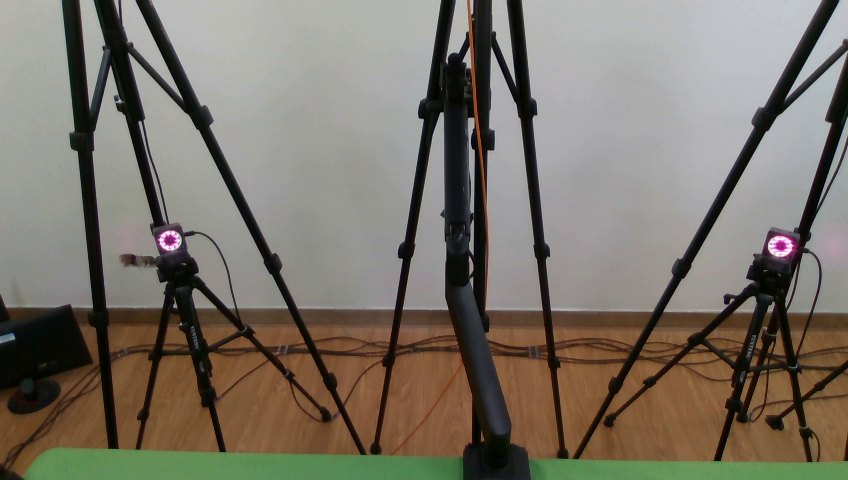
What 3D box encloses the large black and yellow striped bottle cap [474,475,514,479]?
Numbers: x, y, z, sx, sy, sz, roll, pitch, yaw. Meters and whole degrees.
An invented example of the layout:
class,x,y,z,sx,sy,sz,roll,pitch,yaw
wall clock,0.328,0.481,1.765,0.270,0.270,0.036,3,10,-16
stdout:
class,x,y,z,sx,sy,sz,roll,pitch,yaw
large black and yellow striped bottle cap,0.100,0.375,0.831,0.115,0.019,0.114,-1,32,1
